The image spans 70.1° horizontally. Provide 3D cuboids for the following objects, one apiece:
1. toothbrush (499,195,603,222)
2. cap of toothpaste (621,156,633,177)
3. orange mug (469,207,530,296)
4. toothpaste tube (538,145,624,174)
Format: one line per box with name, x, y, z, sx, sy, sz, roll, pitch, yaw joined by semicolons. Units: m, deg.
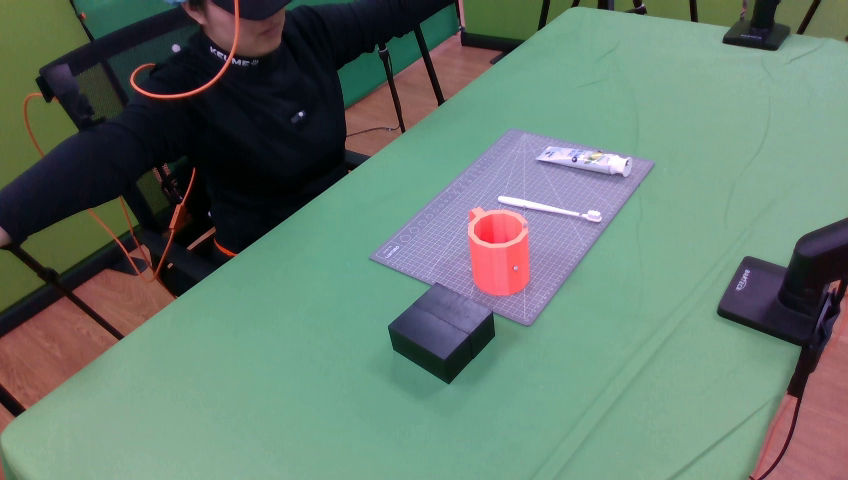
toothbrush;0.209;-0.055;1.010;0.180;0.017;0.014;14;61;27
cap of toothpaste;0.352;-0.128;1.051;0.011;0.037;0.037;18;47;35
orange mug;0.104;0.008;0.894;0.084;0.101;0.125;-22;46;-14
toothpaste tube;0.292;-0.148;1.097;0.164;0.034;0.055;17;40;34
